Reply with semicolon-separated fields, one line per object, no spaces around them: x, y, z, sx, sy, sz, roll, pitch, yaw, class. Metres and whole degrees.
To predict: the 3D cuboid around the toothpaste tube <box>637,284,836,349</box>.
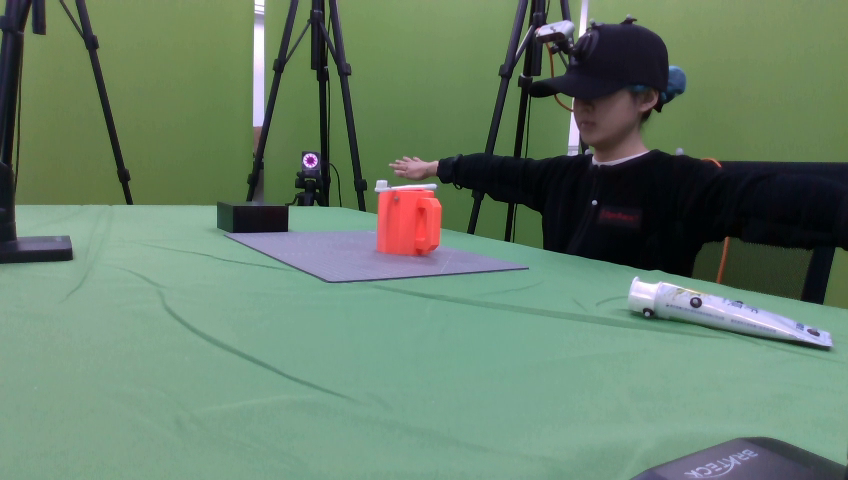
0.275;0.070;0.550;0.164;0.034;0.055;11;15;28;toothpaste tube

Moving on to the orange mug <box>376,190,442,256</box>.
-0.018;-0.028;0.914;0.084;0.100;0.125;-2;5;-38;orange mug

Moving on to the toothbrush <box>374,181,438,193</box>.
-0.023;-0.081;0.918;0.014;0.016;0.182;6;8;27;toothbrush

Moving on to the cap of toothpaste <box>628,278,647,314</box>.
0.209;0.055;0.589;0.011;0.037;0.037;11;10;28;cap of toothpaste
